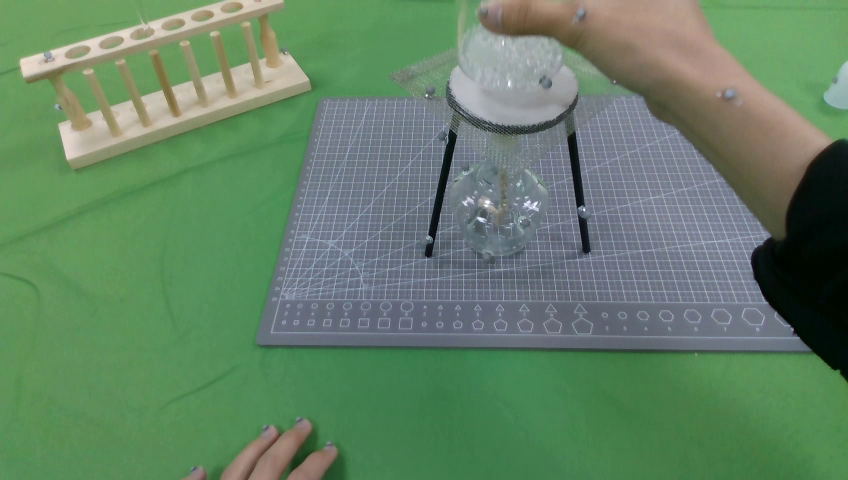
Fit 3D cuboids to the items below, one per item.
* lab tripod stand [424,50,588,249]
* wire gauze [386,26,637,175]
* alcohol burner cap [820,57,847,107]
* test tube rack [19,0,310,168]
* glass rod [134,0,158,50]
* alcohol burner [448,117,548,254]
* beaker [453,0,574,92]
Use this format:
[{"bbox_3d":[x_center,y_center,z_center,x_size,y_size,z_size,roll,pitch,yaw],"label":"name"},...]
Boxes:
[{"bbox_3d":[0.064,-0.062,0.457,0.148,0.132,0.147,0,48,1],"label":"lab tripod stand"},{"bbox_3d":[0.057,-0.104,0.405,0.121,0.011,0.124,-33,55,-24],"label":"wire gauze"},{"bbox_3d":[0.412,-0.157,0.587,0.034,0.048,0.033,-1,48,2],"label":"alcohol burner cap"},{"bbox_3d":[-0.243,-0.163,0.596,0.242,0.086,0.066,-24,52,-17],"label":"test tube rack"},{"bbox_3d":[-0.256,-0.207,0.547,0.008,0.201,0.008,2,50,-2],"label":"glass rod"},{"bbox_3d":[0.057,-0.045,0.456,0.078,0.120,0.077,0,51,1],"label":"alcohol burner"},{"bbox_3d":[0.050,-0.146,0.354,0.083,0.101,0.073,16,54,15],"label":"beaker"}]
